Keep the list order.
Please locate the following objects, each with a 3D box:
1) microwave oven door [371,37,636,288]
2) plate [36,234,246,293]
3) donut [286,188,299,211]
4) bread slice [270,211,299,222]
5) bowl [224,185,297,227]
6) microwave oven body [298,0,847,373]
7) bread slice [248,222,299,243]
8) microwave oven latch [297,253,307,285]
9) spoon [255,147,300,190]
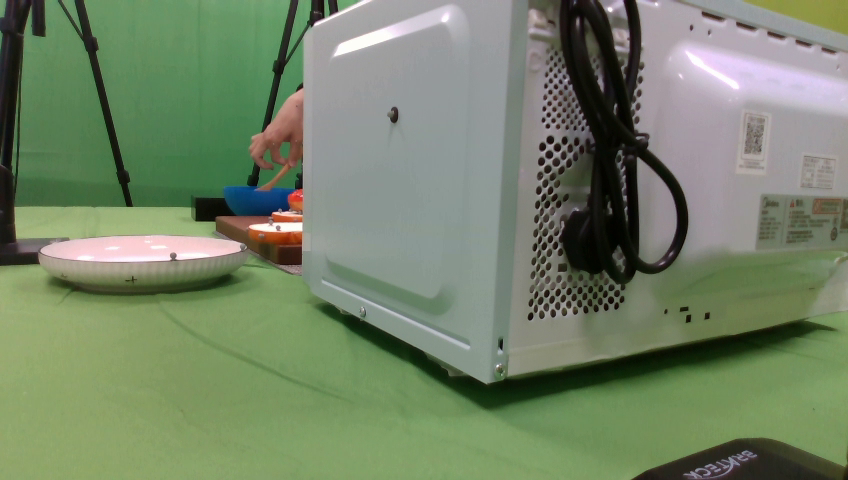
[{"bbox_3d":[0.109,-0.080,0.686,0.358,0.243,0.039,-2,9,-33],"label":"microwave oven door"},{"bbox_3d":[-0.305,0.026,0.668,0.208,0.039,0.207,3,7,0],"label":"plate"},{"bbox_3d":[-0.190,-0.068,1.055,0.099,0.048,0.099,3,6,0],"label":"donut"},{"bbox_3d":[-0.198,-0.038,1.051,0.132,0.019,0.104,0,7,-31],"label":"bread slice"},{"bbox_3d":[-0.329,-0.068,1.230,0.151,0.077,0.151,3,8,0],"label":"bowl"},{"bbox_3d":[0.151,-0.055,0.542,0.444,0.260,0.324,-2,7,-33],"label":"microwave oven body"},{"bbox_3d":[-0.174,-0.012,0.844,0.135,0.018,0.106,-6,10,-44],"label":"bread slice"},{"bbox_3d":[-0.082,0.027,0.582,0.079,0.029,0.030,-1,7,-32],"label":"microwave oven latch"},{"bbox_3d":[-0.304,-0.129,1.250,0.042,0.194,0.021,47,-20,-24],"label":"spoon"}]
